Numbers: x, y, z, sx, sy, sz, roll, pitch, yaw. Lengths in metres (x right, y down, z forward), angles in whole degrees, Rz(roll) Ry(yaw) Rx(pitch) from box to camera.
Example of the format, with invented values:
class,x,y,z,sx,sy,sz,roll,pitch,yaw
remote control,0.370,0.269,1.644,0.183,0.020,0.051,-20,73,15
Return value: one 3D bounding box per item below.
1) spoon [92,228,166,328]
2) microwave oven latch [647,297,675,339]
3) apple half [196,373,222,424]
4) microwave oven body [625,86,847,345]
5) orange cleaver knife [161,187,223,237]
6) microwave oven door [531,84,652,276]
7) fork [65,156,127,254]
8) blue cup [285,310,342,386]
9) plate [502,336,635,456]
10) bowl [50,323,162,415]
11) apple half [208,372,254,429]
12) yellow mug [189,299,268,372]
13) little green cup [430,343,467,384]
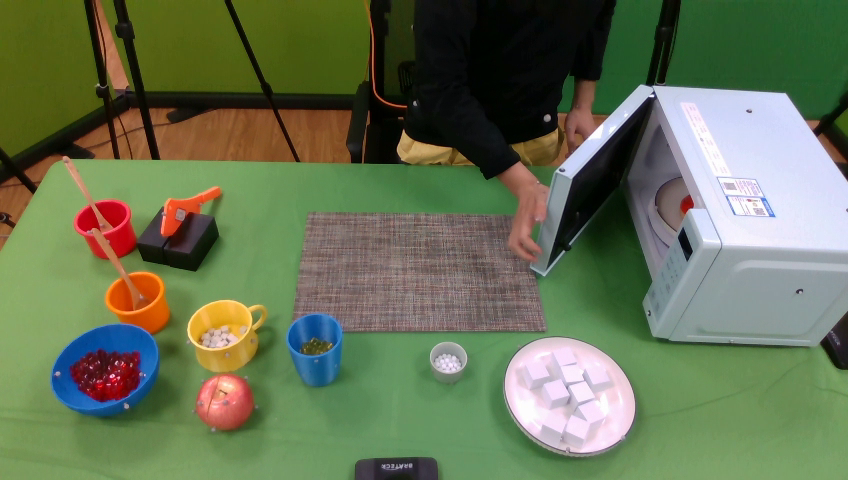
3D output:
class,x,y,z,sx,sy,sz,roll,pitch,yaw
spoon,-0.495,0.063,1.014,0.041,0.194,0.021,-34,13,-32
microwave oven latch,0.413,0.134,1.061,0.030,0.029,0.078,5,45,2
apple half,-0.322,0.239,0.907,0.033,0.081,0.081,7,46,-1
microwave oven body,0.568,-0.053,1.118,0.326,0.261,0.439,2,45,-1
orange cleaver knife,-0.448,-0.059,1.180,0.012,0.077,0.211,13,17,6
microwave oven door,0.326,-0.121,1.160,0.039,0.245,0.355,30,51,23
fork,-0.614,-0.064,1.130,0.028,0.018,0.207,-29,97,-17
blue cup,-0.169,0.179,0.958,0.093,0.101,0.092,1,44,-1
plate,0.225,0.248,0.963,0.208,0.039,0.206,2,46,-2
bowl,-0.472,0.209,0.924,0.151,0.077,0.150,2,45,-2
apple half,-0.283,0.244,0.908,0.053,0.075,0.080,7,43,-2
yellow mug,-0.315,0.148,1.002,0.131,0.064,0.099,-33,56,-31
little green cup,0.039,0.203,0.994,0.061,0.039,0.061,2,46,-2
